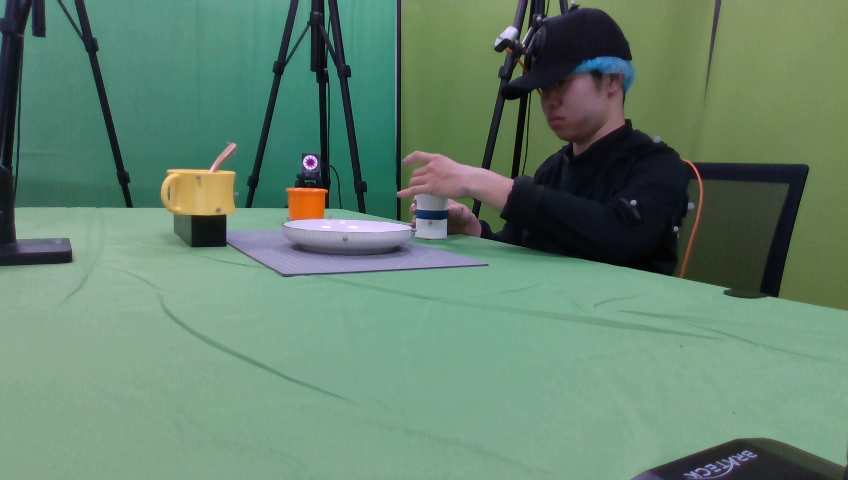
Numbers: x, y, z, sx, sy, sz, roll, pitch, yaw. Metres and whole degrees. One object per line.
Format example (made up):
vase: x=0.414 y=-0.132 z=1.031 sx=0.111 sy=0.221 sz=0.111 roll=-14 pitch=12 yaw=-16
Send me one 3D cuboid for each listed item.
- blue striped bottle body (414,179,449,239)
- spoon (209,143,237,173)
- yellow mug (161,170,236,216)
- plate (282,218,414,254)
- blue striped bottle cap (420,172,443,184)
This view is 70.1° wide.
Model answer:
blue striped bottle body: x=0.014 y=-0.065 z=1.166 sx=0.063 sy=0.120 sz=0.063 roll=3 pitch=8 yaw=0
spoon: x=-0.341 y=-0.113 z=0.990 sx=0.041 sy=0.021 sz=0.193 roll=1 pitch=40 yaw=6
yellow mug: x=-0.354 y=-0.074 z=0.935 sx=0.099 sy=0.064 sz=0.131 roll=5 pitch=9 yaw=21
plate: x=-0.121 y=-0.007 z=0.971 sx=0.208 sy=0.039 sz=0.207 roll=2 pitch=7 yaw=0
blue striped bottle cap: x=0.015 y=-0.119 z=1.159 sx=0.044 sy=0.020 sz=0.044 roll=5 pitch=4 yaw=0
